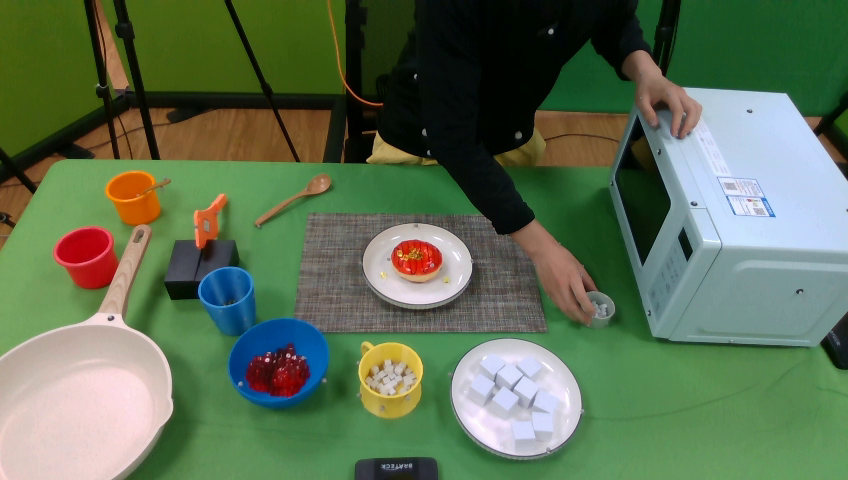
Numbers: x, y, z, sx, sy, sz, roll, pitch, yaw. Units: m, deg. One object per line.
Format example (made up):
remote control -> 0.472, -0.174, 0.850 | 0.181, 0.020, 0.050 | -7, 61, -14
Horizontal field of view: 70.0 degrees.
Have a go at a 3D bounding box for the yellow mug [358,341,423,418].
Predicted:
yellow mug -> -0.062, 0.210, 0.961 | 0.100, 0.064, 0.130 | -29, 54, -27

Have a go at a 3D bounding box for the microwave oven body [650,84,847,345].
microwave oven body -> 0.568, -0.054, 1.116 | 0.326, 0.261, 0.439 | 2, 46, -1

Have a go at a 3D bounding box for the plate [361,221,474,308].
plate -> -0.011, 0.049, 1.130 | 0.209, 0.038, 0.208 | 2, 46, -2

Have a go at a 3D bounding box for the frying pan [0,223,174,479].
frying pan -> -0.505, 0.169, 0.941 | 0.307, 0.103, 0.485 | 5, 54, -1

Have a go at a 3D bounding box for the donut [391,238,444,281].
donut -> -0.012, 0.035, 1.128 | 0.099, 0.048, 0.098 | 3, 43, -3

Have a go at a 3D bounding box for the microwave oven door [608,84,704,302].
microwave oven door -> 0.424, -0.096, 1.138 | 0.039, 0.245, 0.353 | 2, 46, -1

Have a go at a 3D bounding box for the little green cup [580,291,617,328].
little green cup -> 0.309, 0.126, 1.084 | 0.061, 0.039, 0.061 | 2, 44, -1

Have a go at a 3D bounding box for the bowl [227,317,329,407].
bowl -> -0.222, 0.203, 0.947 | 0.151, 0.077, 0.150 | 2, 46, -2

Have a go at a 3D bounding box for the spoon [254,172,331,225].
spoon -> -0.272, -0.087, 1.257 | 0.041, 0.022, 0.193 | 45, 57, 13

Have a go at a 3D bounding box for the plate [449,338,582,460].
plate -> 0.141, 0.251, 0.955 | 0.208, 0.039, 0.206 | 2, 46, -2

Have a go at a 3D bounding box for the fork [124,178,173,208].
fork -> -0.525, -0.090, 1.154 | 0.207, 0.019, 0.028 | -17, 27, 45

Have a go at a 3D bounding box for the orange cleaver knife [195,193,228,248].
orange cleaver knife -> -0.406, -0.041, 1.163 | 0.012, 0.077, 0.210 | -1, 18, -3

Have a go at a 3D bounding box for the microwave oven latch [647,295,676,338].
microwave oven latch -> 0.412, 0.133, 1.060 | 0.030, 0.029, 0.078 | 4, 46, 1

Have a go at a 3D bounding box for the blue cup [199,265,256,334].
blue cup -> -0.321, 0.106, 1.015 | 0.093, 0.101, 0.092 | 2, 49, -2
